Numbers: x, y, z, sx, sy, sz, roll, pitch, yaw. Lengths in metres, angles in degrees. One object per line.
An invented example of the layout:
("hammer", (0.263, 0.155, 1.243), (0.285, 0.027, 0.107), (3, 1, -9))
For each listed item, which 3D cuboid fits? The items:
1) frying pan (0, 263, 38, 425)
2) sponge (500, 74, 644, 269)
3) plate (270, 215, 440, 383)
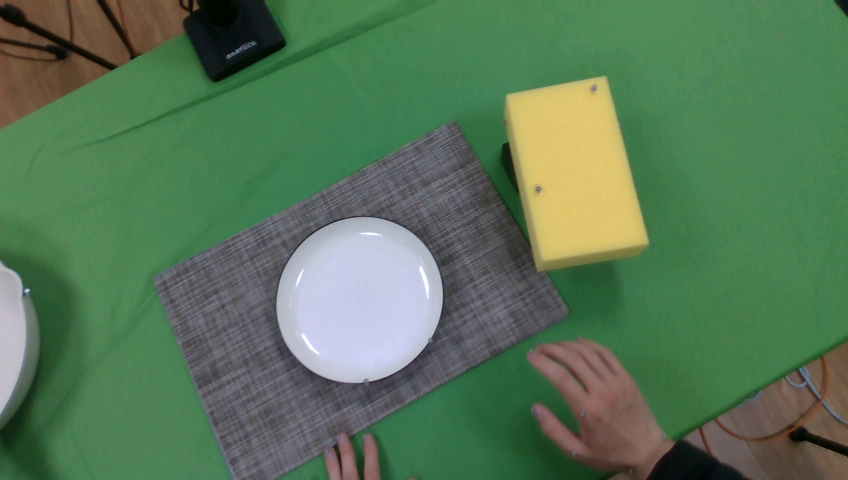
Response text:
("frying pan", (-0.562, 0.218, 0.720), (0.307, 0.103, 0.484), (-36, 68, -3))
("sponge", (0.167, -0.079, 0.707), (0.118, 0.061, 0.205), (-11, 76, 2))
("plate", (-0.083, 0.073, 0.749), (0.207, 0.039, 0.206), (-1, 76, 4))
